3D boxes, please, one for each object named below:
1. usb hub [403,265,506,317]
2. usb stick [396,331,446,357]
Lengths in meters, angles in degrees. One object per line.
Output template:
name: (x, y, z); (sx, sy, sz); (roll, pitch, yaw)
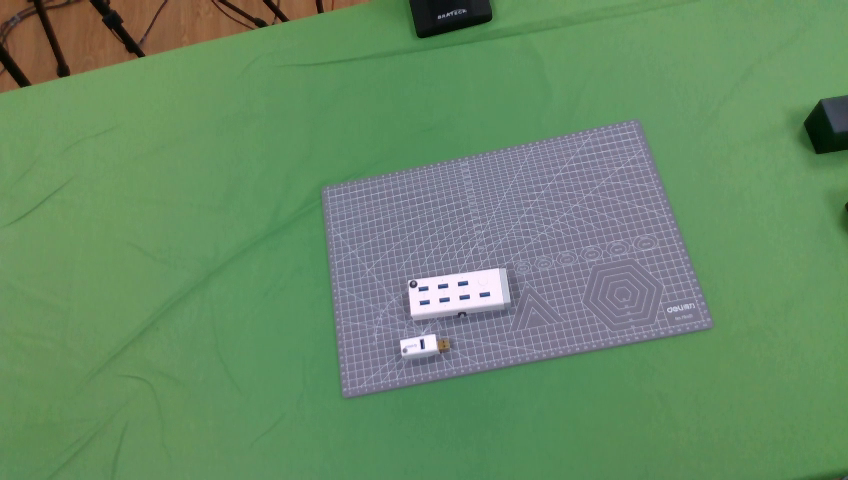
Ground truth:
usb hub: (0.037, 0.063, 0.756); (0.125, 0.025, 0.049); (-8, 66, 4)
usb stick: (-0.003, 0.125, 0.735); (0.059, 0.027, 0.021); (-9, 67, 2)
